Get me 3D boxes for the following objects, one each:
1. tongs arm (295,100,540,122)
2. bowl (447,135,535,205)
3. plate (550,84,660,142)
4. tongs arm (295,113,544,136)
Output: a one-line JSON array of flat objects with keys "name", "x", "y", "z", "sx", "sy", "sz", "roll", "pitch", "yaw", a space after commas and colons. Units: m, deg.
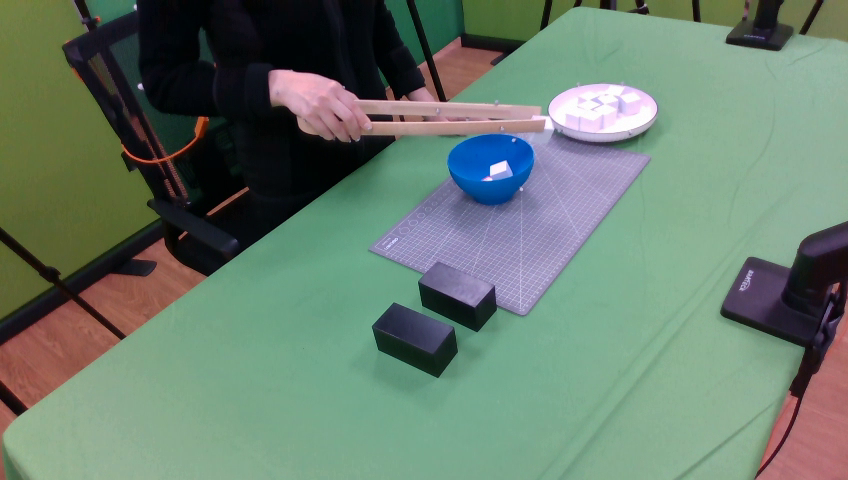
[{"name": "tongs arm", "x": -0.007, "y": -0.196, "z": 0.957, "sx": 0.385, "sy": 0.026, "sz": 0.050, "roll": 3, "pitch": 50, "yaw": 0}, {"name": "bowl", "x": 0.119, "y": -0.115, "z": 1.051, "sx": 0.151, "sy": 0.077, "sz": 0.150, "roll": -5, "pitch": 40, "yaw": 5}, {"name": "plate", "x": 0.355, "y": -0.246, "z": 1.195, "sx": 0.207, "sy": 0.039, "sz": 0.206, "roll": -5, "pitch": 39, "yaw": 5}, {"name": "tongs arm", "x": -0.006, "y": -0.178, "z": 0.942, "sx": 0.388, "sy": 0.028, "sz": 0.028, "roll": 0, "pitch": 54, "yaw": -2}]
